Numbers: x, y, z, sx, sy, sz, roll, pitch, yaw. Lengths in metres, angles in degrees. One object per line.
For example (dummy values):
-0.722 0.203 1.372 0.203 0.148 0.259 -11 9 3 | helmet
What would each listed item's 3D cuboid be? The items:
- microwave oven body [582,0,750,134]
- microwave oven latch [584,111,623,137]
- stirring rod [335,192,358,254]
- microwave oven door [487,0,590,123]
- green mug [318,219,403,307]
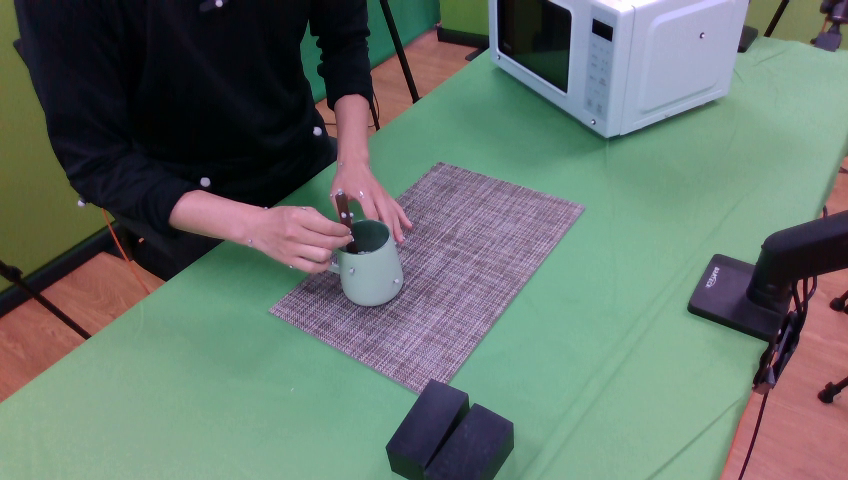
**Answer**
0.382 -0.445 1.246 0.327 0.261 0.437 -22 42 -16 | microwave oven body
0.337 -0.222 1.142 0.030 0.029 0.078 -21 42 -14 | microwave oven latch
-0.101 0.002 0.825 0.014 0.177 0.005 -25 49 -18 | stirring rod
0.232 -0.420 1.230 0.039 0.245 0.352 -22 43 -16 | microwave oven door
-0.096 0.032 0.876 0.125 0.105 0.092 8 43 17 | green mug
